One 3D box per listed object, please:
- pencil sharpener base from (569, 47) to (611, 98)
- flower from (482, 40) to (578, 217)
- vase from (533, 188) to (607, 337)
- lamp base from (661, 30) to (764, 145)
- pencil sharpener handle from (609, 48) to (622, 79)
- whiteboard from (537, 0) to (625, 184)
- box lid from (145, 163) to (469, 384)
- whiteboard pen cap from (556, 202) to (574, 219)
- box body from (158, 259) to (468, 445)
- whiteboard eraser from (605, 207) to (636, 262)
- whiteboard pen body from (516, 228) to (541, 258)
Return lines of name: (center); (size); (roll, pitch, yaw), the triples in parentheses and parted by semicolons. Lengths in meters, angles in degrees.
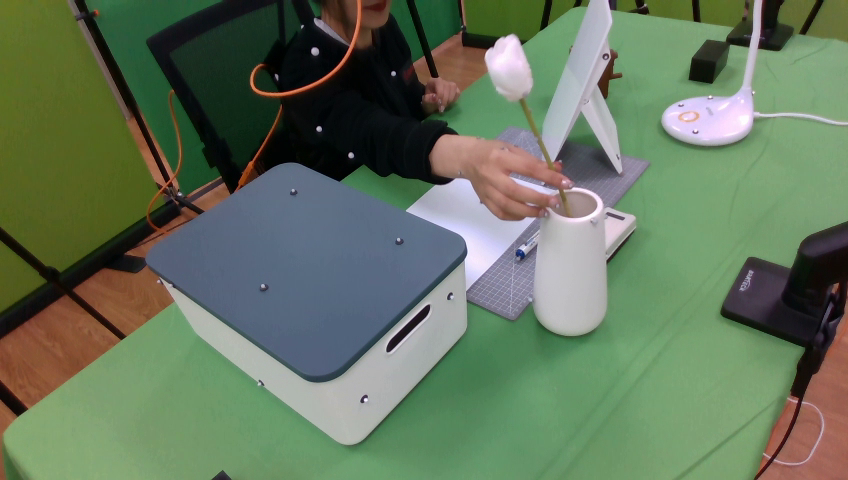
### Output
pencil sharpener base: (0.346, -0.352, 1.262); (0.077, 0.107, 0.061); (-10, 40, -1)
flower: (0.151, -0.072, 0.692); (0.038, 0.364, 0.044); (-5, 52, 32)
vase: (0.187, 0.033, 0.771); (0.098, 0.201, 0.097); (-6, 41, 6)
lamp base: (0.535, -0.287, 1.095); (0.179, 0.181, 0.159); (-10, 40, -4)
pencil sharpener handle: (0.395, -0.368, 1.254); (0.031, 0.068, 0.036); (-10, 32, -1)
whiteboard: (0.316, -0.256, 1.047); (0.144, 0.306, 0.216); (15, 42, -1)
box lid: (-0.157, 0.014, 0.769); (0.368, 0.015, 0.264); (25, 51, 33)
whiteboard pen cap: (0.231, -0.048, 0.994); (0.018, 0.018, 0.033); (26, 53, 34)
box body: (-0.147, 0.072, 0.816); (0.361, 0.161, 0.255); (24, 50, 33)
whiteboard eraser: (0.273, -0.003, 0.919); (0.055, 0.042, 0.113); (27, 51, 32)
whiteboard pen body: (0.192, -0.015, 0.964); (0.017, 0.017, 0.141); (26, 51, 34)
